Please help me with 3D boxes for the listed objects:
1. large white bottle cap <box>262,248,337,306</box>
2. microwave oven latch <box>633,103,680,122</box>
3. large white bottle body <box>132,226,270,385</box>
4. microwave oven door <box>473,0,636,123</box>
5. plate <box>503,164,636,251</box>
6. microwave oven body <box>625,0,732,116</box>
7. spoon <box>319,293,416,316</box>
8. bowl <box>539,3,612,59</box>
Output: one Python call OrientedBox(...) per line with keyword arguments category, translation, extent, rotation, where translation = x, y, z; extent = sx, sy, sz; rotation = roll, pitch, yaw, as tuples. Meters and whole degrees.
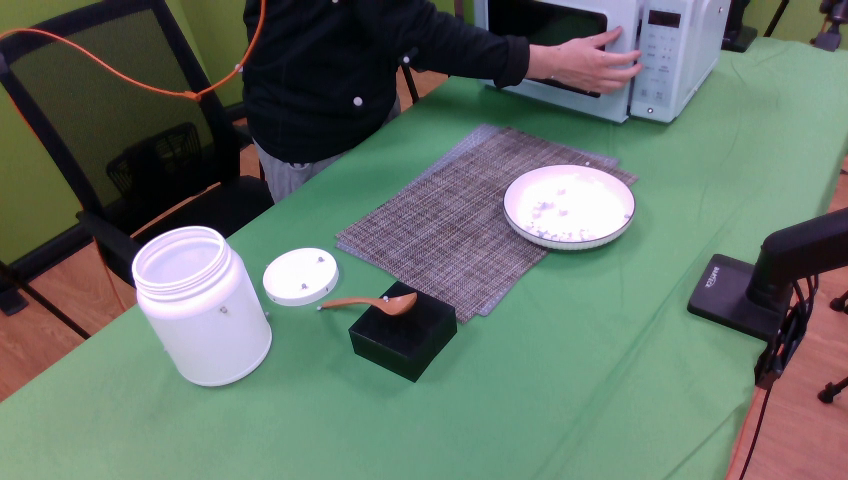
OrientedBox(category="large white bottle cap", translation=(-0.193, 0.056, 0.934), extent=(0.115, 0.018, 0.114), rotation=(-4, 41, 4))
OrientedBox(category="microwave oven latch", translation=(0.443, -0.249, 1.158), extent=(0.078, 0.029, 0.030), rotation=(21, 49, 30))
OrientedBox(category="large white bottle body", translation=(-0.286, 0.084, 0.784), extent=(0.130, 0.185, 0.130), rotation=(-4, 41, 4))
OrientedBox(category="microwave oven door", translation=(0.247, -0.387, 1.190), extent=(0.353, 0.245, 0.039), rotation=(26, 51, 33))
OrientedBox(category="plate", translation=(0.232, -0.050, 0.976), extent=(0.209, 0.038, 0.208), rotation=(-3, 41, 3))
OrientedBox(category="microwave oven body", translation=(0.377, -0.463, 1.267), extent=(0.438, 0.261, 0.327), rotation=(21, 49, 30))
OrientedBox(category="spoon", translation=(-0.082, 0.086, 0.826), extent=(0.192, 0.022, 0.041), rotation=(-3, 37, 41))
OrientedBox(category="bowl", translation=(0.323, -0.441, 1.298), extent=(0.151, 0.077, 0.150), rotation=(-4, 42, 4))
